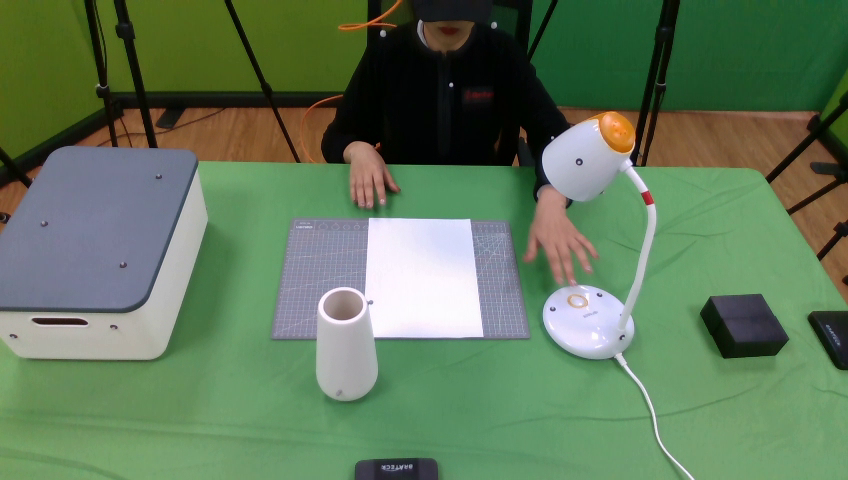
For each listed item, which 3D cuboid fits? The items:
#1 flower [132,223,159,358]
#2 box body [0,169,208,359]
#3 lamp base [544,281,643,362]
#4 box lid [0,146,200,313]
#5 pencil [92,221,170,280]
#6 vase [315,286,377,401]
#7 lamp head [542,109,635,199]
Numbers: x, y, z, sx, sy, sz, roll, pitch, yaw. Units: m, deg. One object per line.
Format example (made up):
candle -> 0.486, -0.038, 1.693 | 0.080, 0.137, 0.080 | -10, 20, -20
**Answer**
flower -> -0.505, 0.073, 1.095 | 0.044, 0.038, 0.359 | -41, 43, 9
box body -> -0.541, 0.021, 1.042 | 0.254, 0.161, 0.361 | 1, 46, -3
lamp base -> 0.304, 0.095, 1.015 | 0.161, 0.181, 0.178 | -24, 54, -24
box lid -> -0.536, -0.034, 0.989 | 0.263, 0.015, 0.369 | 1, 46, -3
pencil -> -0.552, 0.015, 1.153 | 0.012, 0.012, 0.193 | 20, 42, 15
vase -> -0.119, 0.159, 0.911 | 0.098, 0.201, 0.097 | 2, 47, -2
lamp head -> 0.253, -0.131, 0.893 | 0.113, 0.123, 0.112 | 10, 66, -24
